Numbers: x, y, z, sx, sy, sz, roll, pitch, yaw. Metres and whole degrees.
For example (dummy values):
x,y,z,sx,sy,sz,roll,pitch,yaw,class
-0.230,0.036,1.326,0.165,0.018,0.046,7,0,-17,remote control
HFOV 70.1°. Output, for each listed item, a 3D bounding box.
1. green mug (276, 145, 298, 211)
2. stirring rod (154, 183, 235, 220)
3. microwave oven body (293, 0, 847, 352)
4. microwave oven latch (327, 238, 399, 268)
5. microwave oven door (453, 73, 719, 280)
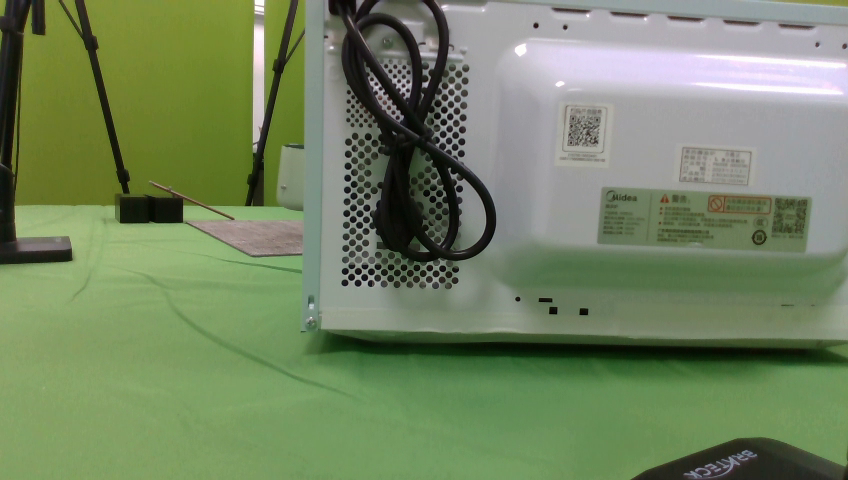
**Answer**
x,y,z,sx,sy,sz,roll,pitch,yaw,class
-0.198,-0.109,1.044,0.092,0.105,0.125,9,14,16,green mug
-0.472,-0.079,1.252,0.177,0.006,0.014,27,4,-35,stirring rod
0.122,-0.055,0.550,0.442,0.260,0.325,3,7,-5,microwave oven body
-0.069,0.015,0.694,0.079,0.029,0.030,3,7,-3,microwave oven latch
0.195,-0.091,0.815,0.354,0.243,0.039,8,8,39,microwave oven door
